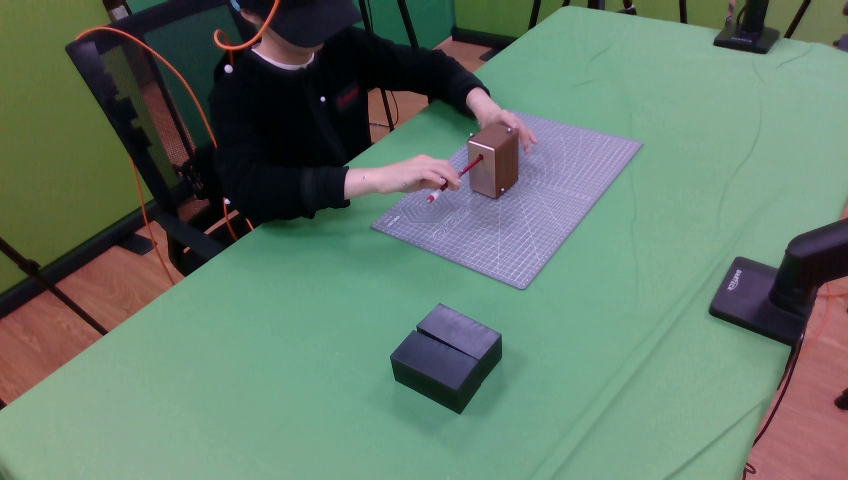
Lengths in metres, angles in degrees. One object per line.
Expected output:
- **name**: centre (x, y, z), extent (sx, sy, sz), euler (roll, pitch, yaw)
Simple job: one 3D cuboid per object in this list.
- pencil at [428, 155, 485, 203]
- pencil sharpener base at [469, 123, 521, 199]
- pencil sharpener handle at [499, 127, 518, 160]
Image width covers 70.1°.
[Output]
- **pencil**: centre (0.071, -0.114, 0.989), extent (0.012, 0.012, 0.194), euler (25, 51, 33)
- **pencil sharpener base**: centre (0.125, -0.138, 1.050), extent (0.061, 0.107, 0.077), euler (24, 50, 33)
- **pencil sharpener handle**: centre (0.156, -0.176, 1.070), extent (0.035, 0.068, 0.031), euler (28, 52, 29)
